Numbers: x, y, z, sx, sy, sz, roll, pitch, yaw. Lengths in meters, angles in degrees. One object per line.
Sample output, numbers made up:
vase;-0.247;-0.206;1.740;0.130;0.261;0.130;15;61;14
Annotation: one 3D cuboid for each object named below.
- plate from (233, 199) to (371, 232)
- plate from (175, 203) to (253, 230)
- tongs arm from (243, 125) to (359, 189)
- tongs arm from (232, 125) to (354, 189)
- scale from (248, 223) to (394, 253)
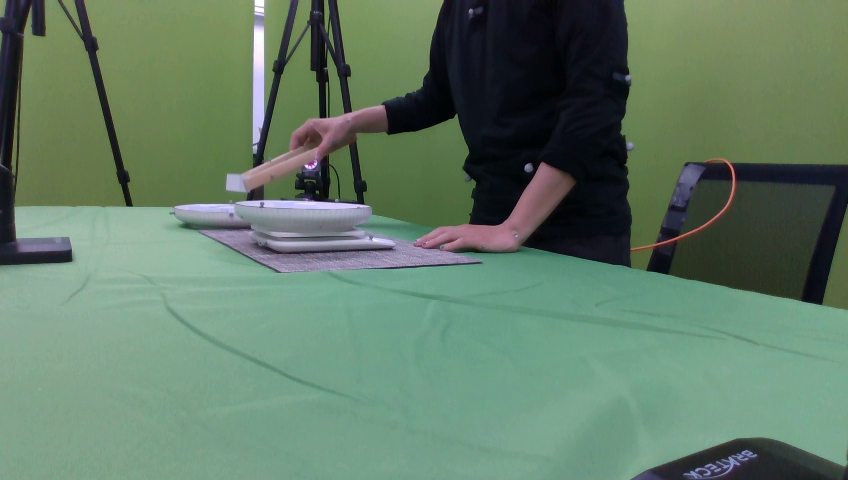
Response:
plate;-0.188;-0.039;0.939;0.209;0.038;0.209;2;7;0
plate;-0.381;-0.047;1.199;0.208;0.039;0.207;3;7;0
tongs arm;-0.250;-0.187;1.309;0.028;0.028;0.389;-1;23;33
tongs arm;-0.269;-0.188;1.320;0.050;0.026;0.386;0;24;28
scale;-0.162;-0.006;0.954;0.202;0.031;0.148;-2;8;-32
